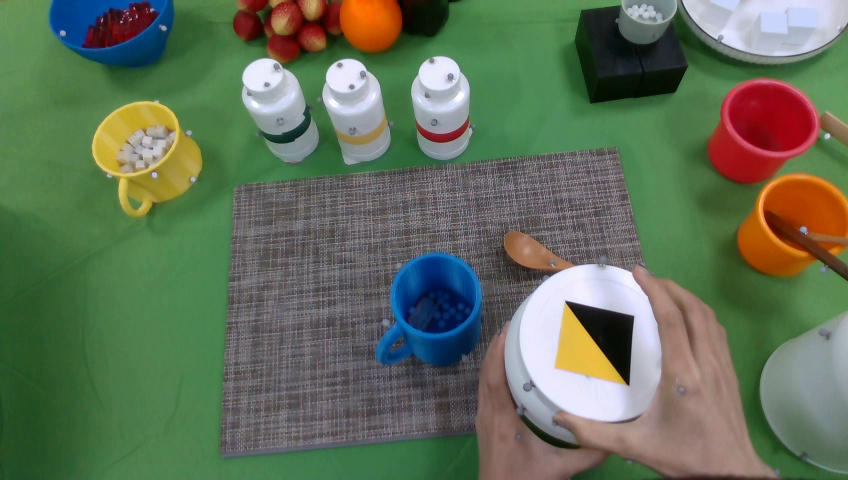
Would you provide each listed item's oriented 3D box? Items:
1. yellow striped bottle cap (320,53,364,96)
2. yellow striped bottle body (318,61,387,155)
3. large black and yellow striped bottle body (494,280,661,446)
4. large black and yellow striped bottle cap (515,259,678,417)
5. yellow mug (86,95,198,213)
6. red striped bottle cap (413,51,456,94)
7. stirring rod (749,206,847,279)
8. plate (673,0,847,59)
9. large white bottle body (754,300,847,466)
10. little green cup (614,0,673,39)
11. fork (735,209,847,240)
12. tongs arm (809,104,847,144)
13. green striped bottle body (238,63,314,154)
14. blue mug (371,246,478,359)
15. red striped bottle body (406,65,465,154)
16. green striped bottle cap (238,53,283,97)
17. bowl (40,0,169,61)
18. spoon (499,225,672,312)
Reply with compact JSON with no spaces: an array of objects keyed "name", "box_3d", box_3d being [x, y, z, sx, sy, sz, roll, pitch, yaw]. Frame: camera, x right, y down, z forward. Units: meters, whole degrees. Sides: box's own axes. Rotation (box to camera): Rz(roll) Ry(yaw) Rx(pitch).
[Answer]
[{"name":"yellow striped bottle cap","box_3d":[-0.085,-0.171,0.627,0.044,0.019,0.044,1,63,-1]},{"name":"yellow striped bottle body","box_3d":[-0.080,-0.152,0.675,0.063,0.121,0.062,-1,67,4]},{"name":"large black and yellow striped bottle body","box_3d":[0.128,0.102,0.519,0.131,0.185,0.130,-1,67,4]},{"name":"large black and yellow striped bottle cap","box_3d":[0.123,0.069,0.439,0.115,0.019,0.114,-2,70,6]},{"name":"yellow mug","box_3d":[-0.326,-0.093,0.696,0.100,0.064,0.130,4,68,5]},{"name":"red striped bottle cap","box_3d":[0.011,-0.172,0.621,0.044,0.018,0.044,0,66,0]},{"name":"stirring rod","box_3d":[0.360,0.000,0.577,0.014,0.006,0.175,-3,24,-1]},{"name":"plate","box_3d":[0.410,-0.306,0.753,0.209,0.038,0.207,-1,68,3]},{"name":"large white bottle body","box_3d":[0.377,0.115,0.502,0.130,0.186,0.129,-1,67,3]},{"name":"little green cup","box_3d":[0.247,-0.262,0.690,0.061,0.039,0.061,-1,65,2]},{"name":"fork","box_3d":[0.389,-0.002,0.568,0.028,0.019,0.205,-33,25,-17]},{"name":"tongs arm","box_3d":[0.585,-0.032,0.630,0.051,0.027,0.382,-40,71,-16]},{"name":"green striped bottle body","box_3d":[-0.167,-0.152,0.681,0.063,0.120,0.062,-1,67,3]},{"name":"blue mug","box_3d":[-0.002,0.073,0.582,0.116,0.106,0.082,-38,69,-11]},{"name":"red striped bottle body","box_3d":[0.014,-0.151,0.670,0.063,0.120,0.062,-1,66,4]},{"name":"green striped bottle cap","box_3d":[-0.171,-0.173,0.633,0.044,0.020,0.044,-1,67,2]},{"name":"bowl","box_3d":[-0.388,-0.283,0.771,0.151,0.077,0.150,-1,68,3]},{"name":"spoon","box_3d":[0.167,0.033,0.633,0.193,0.022,0.041,24,50,12]}]
